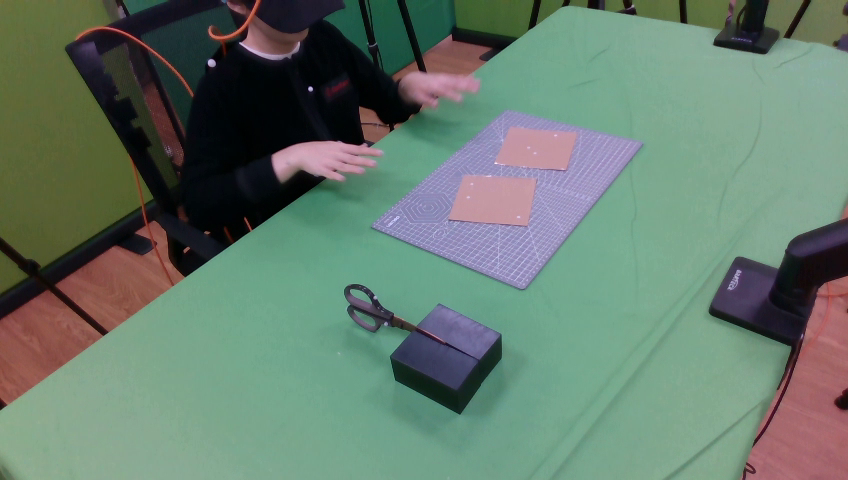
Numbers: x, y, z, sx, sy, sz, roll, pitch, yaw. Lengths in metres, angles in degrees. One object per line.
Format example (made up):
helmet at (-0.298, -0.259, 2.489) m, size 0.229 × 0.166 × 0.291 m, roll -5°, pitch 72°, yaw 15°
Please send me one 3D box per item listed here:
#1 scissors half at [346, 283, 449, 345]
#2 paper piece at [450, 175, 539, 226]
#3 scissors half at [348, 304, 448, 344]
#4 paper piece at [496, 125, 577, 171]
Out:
scissors half at (-0.038, 0.099, 0.803) m, size 0.174 × 0.040 × 0.013 m, roll 26°, pitch 38°, yaw 28°
paper piece at (0.125, -0.073, 1.051) m, size 0.135 × 0.009 × 0.138 m, roll 3°, pitch 42°, yaw 18°
scissors half at (-0.037, 0.117, 0.813) m, size 0.174 × 0.040 × 0.013 m, roll 9°, pitch 33°, yaw 39°
paper piece at (0.218, -0.178, 1.159) m, size 0.135 × 0.004 × 0.135 m, roll 9°, pitch 44°, yaw 18°
